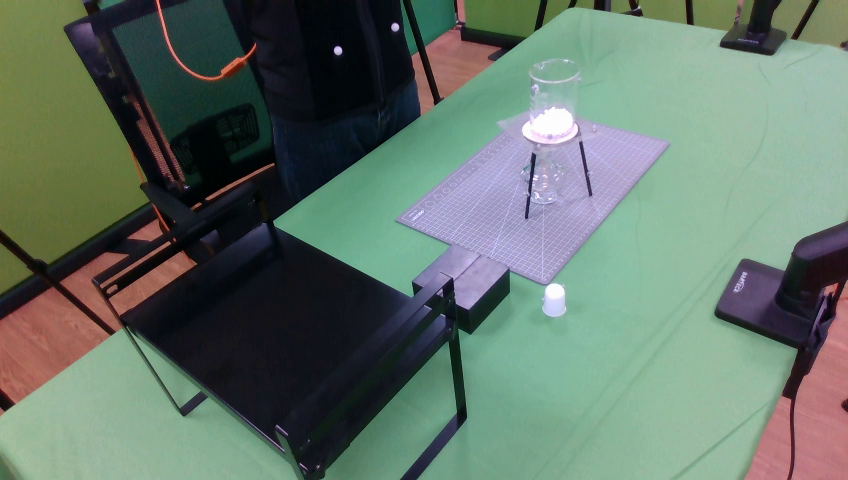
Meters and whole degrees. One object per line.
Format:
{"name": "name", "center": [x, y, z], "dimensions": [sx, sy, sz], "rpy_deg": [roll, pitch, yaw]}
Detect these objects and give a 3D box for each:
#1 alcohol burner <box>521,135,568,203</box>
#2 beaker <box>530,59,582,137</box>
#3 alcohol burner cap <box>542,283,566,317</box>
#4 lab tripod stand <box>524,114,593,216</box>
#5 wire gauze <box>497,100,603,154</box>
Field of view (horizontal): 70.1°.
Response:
{"name": "alcohol burner", "center": [0.201, -0.122, 1.012], "dimensions": [0.078, 0.119, 0.077], "rpy_deg": [-6, 41, 6]}
{"name": "beaker", "center": [0.198, -0.217, 0.932], "dimensions": [0.074, 0.101, 0.083], "rpy_deg": [-22, 43, -16]}
{"name": "alcohol burner cap", "center": [0.181, 0.081, 0.839], "dimensions": [0.034, 0.048, 0.033], "rpy_deg": [-4, 40, 3]}
{"name": "lab tripod stand", "center": [0.210, -0.127, 1.001], "dimensions": [0.148, 0.132, 0.147], "rpy_deg": [-4, 43, 4]}
{"name": "wire gauze", "center": [0.199, -0.179, 0.962], "dimensions": [0.125, 0.011, 0.120], "rpy_deg": [-21, 41, -12]}
